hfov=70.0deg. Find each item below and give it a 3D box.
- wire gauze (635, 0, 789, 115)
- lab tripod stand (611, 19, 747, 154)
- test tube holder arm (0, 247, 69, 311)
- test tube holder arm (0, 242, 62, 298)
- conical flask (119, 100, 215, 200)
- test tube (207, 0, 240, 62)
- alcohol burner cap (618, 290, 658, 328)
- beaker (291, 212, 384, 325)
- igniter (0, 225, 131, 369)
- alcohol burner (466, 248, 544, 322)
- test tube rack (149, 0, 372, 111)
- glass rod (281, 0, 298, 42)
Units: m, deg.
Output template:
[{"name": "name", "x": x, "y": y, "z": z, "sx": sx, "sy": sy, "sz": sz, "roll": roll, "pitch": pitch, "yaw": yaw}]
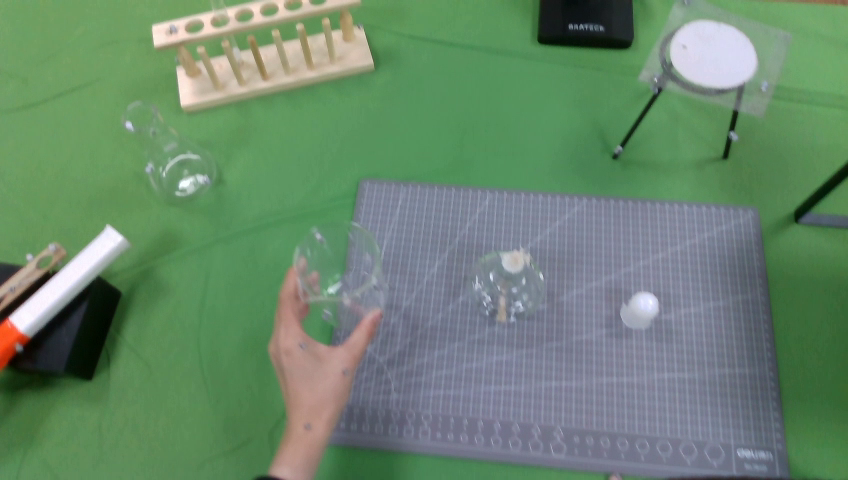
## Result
[{"name": "wire gauze", "x": 0.288, "y": -0.188, "z": 0.601, "sx": 0.121, "sy": 0.011, "sz": 0.124, "roll": 25, "pitch": 70, "yaw": 11}, {"name": "lab tripod stand", "x": 0.283, "y": -0.160, "z": 0.662, "sx": 0.148, "sy": 0.132, "sz": 0.147, "roll": 0, "pitch": 65, "yaw": 0}, {"name": "test tube holder arm", "x": -0.396, "y": 0.041, "z": 0.607, "sx": 0.087, "sy": 0.015, "sz": 0.010, "roll": -46, "pitch": 102, "yaw": -16}, {"name": "test tube holder arm", "x": -0.430, "y": 0.068, "z": 0.593, "sx": 0.178, "sy": 0.015, "sz": 0.013, "roll": -46, "pitch": 103, "yaw": -16}, {"name": "conical flask", "x": -0.286, "y": -0.102, "z": 0.663, "sx": 0.075, "sy": 0.123, "sz": 0.075, "roll": -1, "pitch": 66, "yaw": 2}, {"name": "test tube", "x": -0.236, "y": -0.262, "z": 0.698, "sx": 0.017, "sy": 0.151, "sz": 0.017, "roll": 1, "pitch": 63, "yaw": -2}, {"name": "alcohol burner cap", "x": 0.219, "y": 0.067, "z": 0.612, "sx": 0.034, "sy": 0.048, "sz": 0.033, "roll": -1, "pitch": 66, "yaw": 2}, {"name": "beaker", "x": -0.077, "y": 0.033, "z": 0.557, "sx": 0.073, "sy": 0.101, "sz": 0.084, "roll": 33, "pitch": 70, "yaw": 16}, {"name": "igniter", "x": -0.400, "y": 0.093, "z": 0.582, "sx": 0.057, "sy": 0.025, "sz": 0.276, "roll": 32, "pitch": 70, "yaw": 25}, {"name": "alcohol burner", "x": 0.081, "y": 0.037, "z": 0.591, "sx": 0.078, "sy": 0.120, "sz": 0.077, "roll": 0, "pitch": 65, "yaw": 0}, {"name": "test tube rack", "x": -0.193, "y": -0.236, "z": 0.739, "sx": 0.242, "sy": 0.086, "sz": 0.066, "roll": -15, "pitch": 66, "yaw": -5}, {"name": "glass rod", "x": -0.169, "y": -0.294, "z": 0.691, "sx": 0.008, "sy": 0.201, "sz": 0.008, "roll": -4, "pitch": 59, "yaw": 7}]
